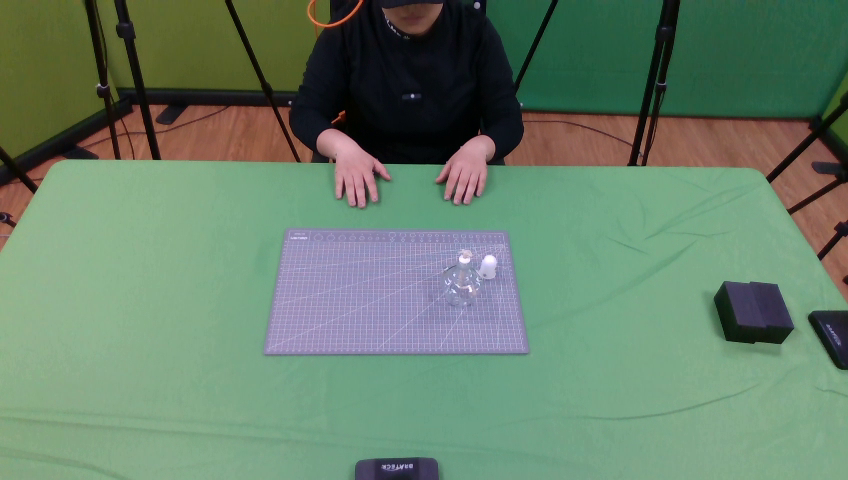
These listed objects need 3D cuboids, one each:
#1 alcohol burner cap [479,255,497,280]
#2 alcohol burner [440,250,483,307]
[{"bbox_3d":[0.122,0.050,1.143,0.034,0.048,0.033,2,45,-2],"label":"alcohol burner cap"},{"bbox_3d":[0.068,0.063,1.076,0.078,0.120,0.077,1,45,-1],"label":"alcohol burner"}]
